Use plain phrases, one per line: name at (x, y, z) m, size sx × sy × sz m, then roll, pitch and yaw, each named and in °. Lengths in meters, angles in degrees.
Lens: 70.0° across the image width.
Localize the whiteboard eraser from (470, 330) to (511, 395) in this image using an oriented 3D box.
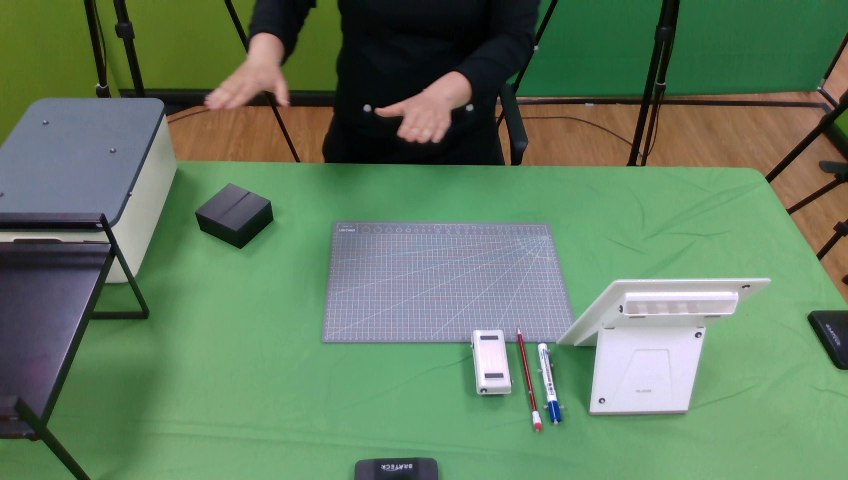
whiteboard eraser at (0.109, 0.202, 0.998) m, size 0.055 × 0.042 × 0.112 m, roll 1°, pitch 46°, yaw -5°

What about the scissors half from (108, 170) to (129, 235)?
scissors half at (-0.617, -0.077, 1.223) m, size 0.040 × 0.013 × 0.174 m, roll -14°, pitch 54°, yaw -8°

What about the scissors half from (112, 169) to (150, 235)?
scissors half at (-0.596, -0.078, 1.225) m, size 0.040 × 0.013 × 0.174 m, roll 7°, pitch 53°, yaw 1°

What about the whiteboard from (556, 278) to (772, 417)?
whiteboard at (0.347, 0.174, 0.903) m, size 0.217 × 0.306 × 0.143 m, roll 1°, pitch 65°, yaw -4°

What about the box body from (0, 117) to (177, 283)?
box body at (-0.640, -0.095, 1.140) m, size 0.254 × 0.161 × 0.361 m, roll 0°, pitch 46°, yaw -4°

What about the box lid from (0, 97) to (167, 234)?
box lid at (-0.636, -0.145, 1.086) m, size 0.263 × 0.015 × 0.369 m, roll 0°, pitch 46°, yaw -4°

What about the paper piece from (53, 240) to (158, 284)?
paper piece at (-0.593, 0.037, 1.135) m, size 0.136 × 0.009 × 0.137 m, roll 3°, pitch 33°, yaw 8°

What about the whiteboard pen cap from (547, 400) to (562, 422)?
whiteboard pen cap at (0.205, 0.269, 0.956) m, size 0.018 × 0.018 × 0.033 m, roll 0°, pitch 47°, yaw -5°

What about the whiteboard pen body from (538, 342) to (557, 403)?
whiteboard pen body at (0.205, 0.228, 0.996) m, size 0.017 × 0.017 × 0.140 m, roll 1°, pitch 46°, yaw -3°

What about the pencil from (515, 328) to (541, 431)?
pencil at (0.169, 0.224, 1.002) m, size 0.012 × 0.012 × 0.192 m, roll -1°, pitch 46°, yaw -6°
